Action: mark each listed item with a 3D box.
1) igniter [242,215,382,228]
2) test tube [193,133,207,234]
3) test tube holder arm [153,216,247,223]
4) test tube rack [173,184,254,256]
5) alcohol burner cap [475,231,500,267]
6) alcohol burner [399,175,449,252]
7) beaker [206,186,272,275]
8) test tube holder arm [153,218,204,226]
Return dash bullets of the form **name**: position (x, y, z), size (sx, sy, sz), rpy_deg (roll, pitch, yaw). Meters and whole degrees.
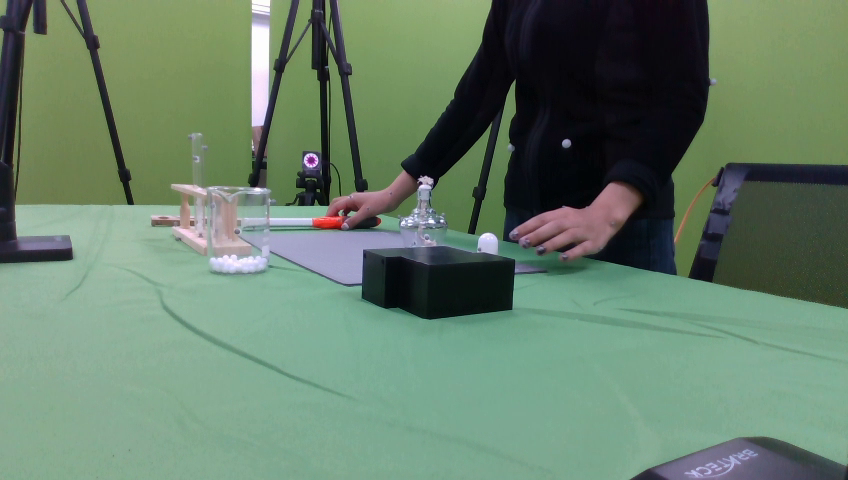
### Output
- **igniter**: position (-0.213, -0.036, 1.187), size (0.278, 0.025, 0.057), rpy_deg (-2, -4, -31)
- **test tube**: position (-0.335, -0.084, 0.904), size (0.017, 0.150, 0.017), rpy_deg (-1, 2, 0)
- **test tube holder arm**: position (-0.422, -0.039, 1.159), size (0.179, 0.015, 0.013), rpy_deg (-2, 43, -31)
- **test tube rack**: position (-0.328, -0.036, 0.927), size (0.067, 0.085, 0.241), rpy_deg (-2, 9, -32)
- **alcohol burner cap**: position (0.088, 0.012, 0.830), size (0.034, 0.048, 0.034), rpy_deg (3, 7, 0)
- **alcohol burner**: position (0.000, -0.041, 0.937), size (0.078, 0.119, 0.078), rpy_deg (0, 7, 0)
- **beaker**: position (-0.220, -0.012, 0.717), size (0.074, 0.100, 0.084), rpy_deg (2, 8, -3)
- **test tube holder arm**: position (-0.459, -0.034, 1.132), size (0.088, 0.015, 0.010), rpy_deg (-1, 43, -30)
